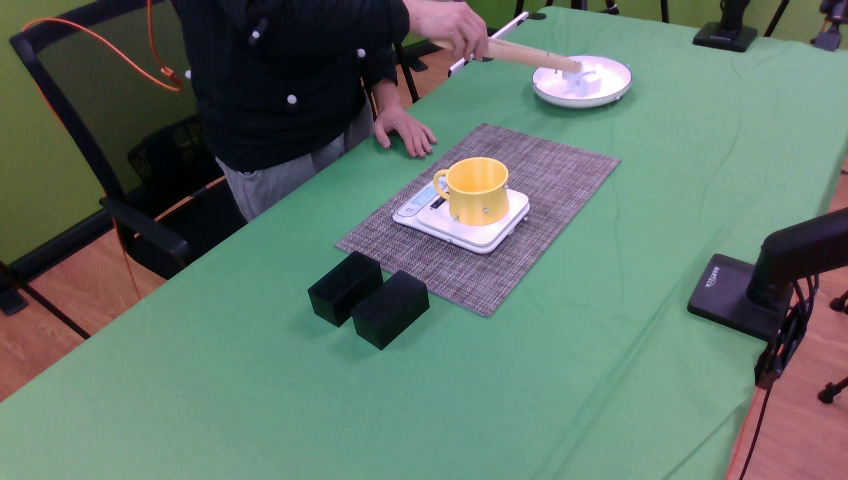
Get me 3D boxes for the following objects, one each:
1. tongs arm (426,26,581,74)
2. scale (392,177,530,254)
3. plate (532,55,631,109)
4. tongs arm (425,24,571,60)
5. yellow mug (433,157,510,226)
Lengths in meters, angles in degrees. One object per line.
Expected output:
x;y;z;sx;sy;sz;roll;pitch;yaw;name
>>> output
0.166;-0.355;1.146;0.388;0.026;0.050;-6;39;-41;tongs arm
0.060;-0.050;1.006;0.199;0.032;0.149;22;48;30;scale
0.336;-0.336;1.301;0.207;0.039;0.206;-4;41;4;plate
0.154;-0.368;1.161;0.391;0.028;0.028;-3;40;-38;tongs arm
0.072;-0.082;0.968;0.130;0.064;0.100;13;45;24;yellow mug
